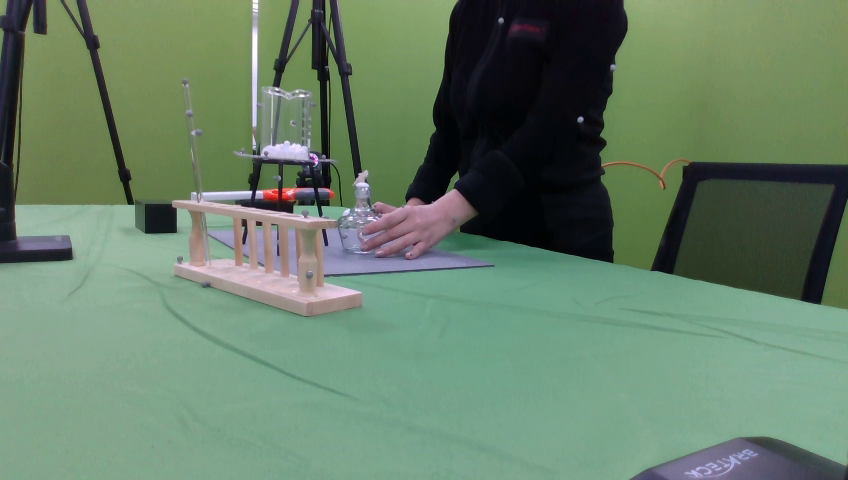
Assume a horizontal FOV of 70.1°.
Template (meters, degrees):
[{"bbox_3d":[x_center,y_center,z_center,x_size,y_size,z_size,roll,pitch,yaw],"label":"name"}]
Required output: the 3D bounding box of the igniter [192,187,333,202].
[{"bbox_3d":[-0.316,-0.090,1.214,0.278,0.025,0.057,-5,12,-31],"label":"igniter"}]

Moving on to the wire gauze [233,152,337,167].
[{"bbox_3d":[-0.205,-0.119,0.887,0.122,0.011,0.124,2,4,-32],"label":"wire gauze"}]

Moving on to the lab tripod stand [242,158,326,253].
[{"bbox_3d":[-0.207,-0.054,0.895,0.148,0.131,0.148,3,5,0],"label":"lab tripod stand"}]

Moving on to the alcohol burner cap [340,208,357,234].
[{"bbox_3d":[-0.142,-0.035,1.136,0.034,0.048,0.034,2,7,0],"label":"alcohol burner cap"}]

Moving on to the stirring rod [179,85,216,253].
[{"bbox_3d":[-0.237,-0.073,0.634,0.006,0.176,0.014,0,9,41],"label":"stirring rod"}]

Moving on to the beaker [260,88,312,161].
[{"bbox_3d":[-0.201,-0.166,0.876,0.074,0.100,0.083,1,7,-18],"label":"beaker"}]

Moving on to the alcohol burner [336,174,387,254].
[{"bbox_3d":[-0.094,-0.039,0.901,0.078,0.119,0.078,1,6,0],"label":"alcohol burner"}]

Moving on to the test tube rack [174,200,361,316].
[{"bbox_3d":[-0.169,0.009,0.622,0.241,0.085,0.067,9,9,41],"label":"test tube rack"}]
